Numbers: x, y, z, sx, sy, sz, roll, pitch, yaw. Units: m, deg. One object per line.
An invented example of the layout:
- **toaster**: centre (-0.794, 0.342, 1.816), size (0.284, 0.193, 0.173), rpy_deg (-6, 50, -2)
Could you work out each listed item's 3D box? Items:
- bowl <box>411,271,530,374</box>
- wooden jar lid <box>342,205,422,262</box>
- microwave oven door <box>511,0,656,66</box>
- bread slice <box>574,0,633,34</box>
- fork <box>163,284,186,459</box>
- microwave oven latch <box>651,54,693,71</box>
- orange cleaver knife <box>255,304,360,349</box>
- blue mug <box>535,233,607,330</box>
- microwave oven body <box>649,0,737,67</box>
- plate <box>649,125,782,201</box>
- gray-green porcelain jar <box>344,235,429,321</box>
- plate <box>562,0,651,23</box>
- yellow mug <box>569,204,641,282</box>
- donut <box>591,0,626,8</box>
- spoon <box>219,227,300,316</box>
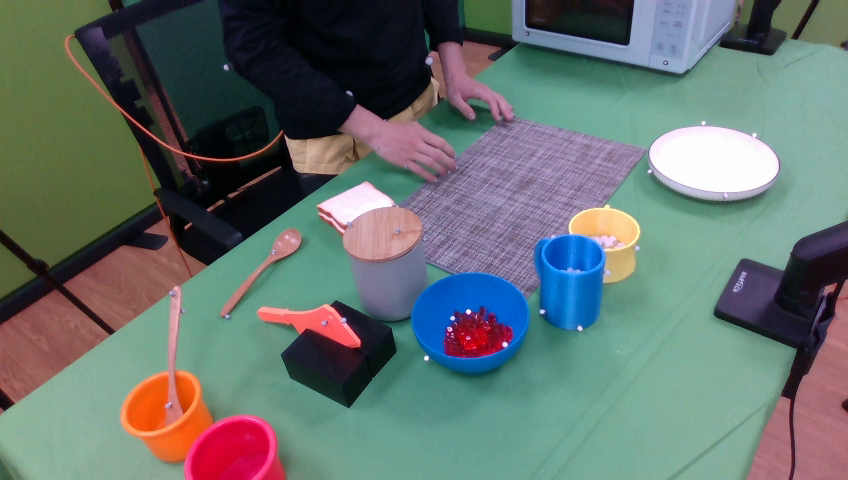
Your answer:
- **bowl**: centre (0.062, 0.119, 0.780), size (0.151, 0.077, 0.150), rpy_deg (-4, 40, 4)
- **wooden jar lid**: centre (-0.055, -0.006, 0.808), size (0.108, 0.021, 0.108), rpy_deg (-6, 41, 6)
- **microwave oven door**: centre (0.351, -0.539, 1.349), size (0.353, 0.245, 0.039), rpy_deg (24, 50, 31)
- **bread slice**: centre (0.431, -0.562, 1.476), size (0.105, 0.019, 0.131), rpy_deg (-29, 68, -21)
- **fork**: centre (-0.303, 0.157, 0.733), size (0.028, 0.019, 0.207), rpy_deg (-3, 84, 13)
- **microwave oven latch**: centre (0.532, -0.386, 1.301), size (0.078, 0.029, 0.030), rpy_deg (26, 51, 34)
- **orange cleaver knife**: centre (-0.161, 0.115, 0.813), size (0.210, 0.077, 0.012), rpy_deg (-4, 32, 47)
- **blue mug**: centre (0.191, 0.048, 0.824), size (0.082, 0.106, 0.115), rpy_deg (-26, 44, -20)
- **microwave oven body**: centre (0.475, -0.602, 1.411), size (0.438, 0.261, 0.327), rpy_deg (23, 50, 32)
- **plate**: centre (0.493, -0.128, 1.036), size (0.207, 0.039, 0.206), rpy_deg (-4, 41, 4)
- **gray-green porcelain jar**: centre (-0.049, 0.042, 0.849), size (0.106, 0.127, 0.105), rpy_deg (-4, 41, 4)
- **plate**: centre (0.439, -0.572, 1.456), size (0.209, 0.038, 0.208), rpy_deg (-6, 44, 6)
- **yellow mug**: centre (0.268, -0.005, 0.904), size (0.099, 0.064, 0.130), rpy_deg (7, 41, 15)
- **donut**: centre (0.437, -0.588, 1.433), size (0.099, 0.048, 0.098), rpy_deg (-3, 53, 4)
- **spoon**: centre (-0.261, 0.046, 0.954), size (0.041, 0.021, 0.194), rpy_deg (26, 48, 11)
